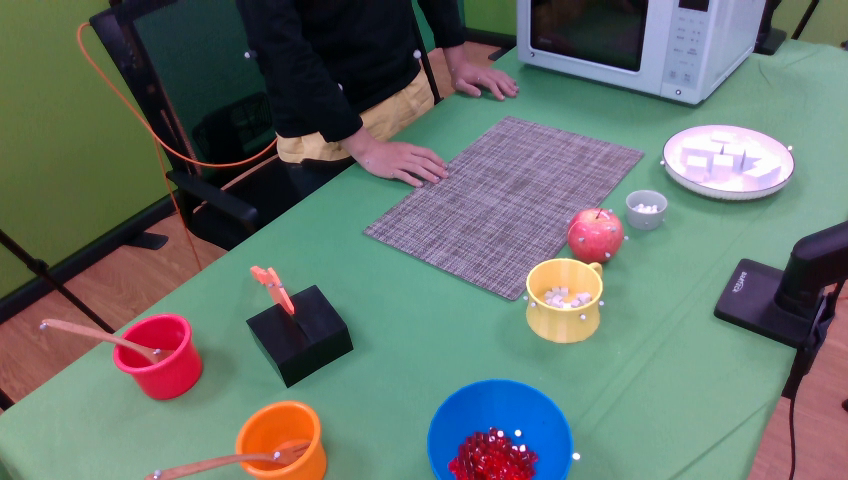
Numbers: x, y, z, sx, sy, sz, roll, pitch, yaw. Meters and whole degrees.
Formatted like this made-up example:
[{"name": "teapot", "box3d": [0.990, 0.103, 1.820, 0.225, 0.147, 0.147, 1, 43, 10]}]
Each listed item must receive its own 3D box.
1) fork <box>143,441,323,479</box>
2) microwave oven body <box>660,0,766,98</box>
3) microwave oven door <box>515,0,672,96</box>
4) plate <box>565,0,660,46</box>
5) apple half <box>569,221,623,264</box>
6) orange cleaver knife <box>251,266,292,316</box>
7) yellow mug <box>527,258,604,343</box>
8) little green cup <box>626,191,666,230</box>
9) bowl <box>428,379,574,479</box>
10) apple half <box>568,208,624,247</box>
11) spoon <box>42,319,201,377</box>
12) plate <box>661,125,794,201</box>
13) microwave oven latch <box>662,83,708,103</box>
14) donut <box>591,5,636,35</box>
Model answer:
[{"name": "fork", "box3d": [-0.189, 0.231, 0.631, 0.028, 0.018, 0.209, 35, 13, 37]}, {"name": "microwave oven body", "box3d": [0.472, -0.513, 1.317, 0.438, 0.261, 0.327, 26, 51, 34]}, {"name": "microwave oven door", "box3d": [0.343, -0.454, 1.259, 0.353, 0.245, 0.039, 26, 51, 33]}, {"name": "plate", "box3d": [0.427, -0.490, 1.376, 0.209, 0.038, 0.208, -5, 41, 5]}, {"name": "apple half", "box3d": [0.251, 0.010, 0.884, 0.081, 0.081, 0.032, 3, 37, 12]}, {"name": "orange cleaver knife", "box3d": [-0.221, 0.071, 0.873, 0.012, 0.077, 0.210, -25, 11, -21]}, {"name": "yellow mug", "box3d": [0.201, 0.073, 0.825, 0.131, 0.064, 0.099, -32, 46, -27]}, {"name": "little green cup", "box3d": [0.352, -0.046, 0.963, 0.061, 0.039, 0.061, -4, 40, 4]}, {"name": "bowl", "box3d": [0.082, 0.233, 0.644, 0.151, 0.077, 0.150, -4, 39, 4]}, {"name": "apple half", "box3d": [0.259, -0.014, 0.914, 0.080, 0.075, 0.053, 0, 36, 15]}, {"name": "spoon", "box3d": [-0.385, 0.135, 0.779, 0.195, 0.021, 0.041, 29, 37, -26]}, {"name": "plate", "box3d": [0.513, -0.128, 1.035, 0.207, 0.039, 0.206, -4, 40, 4]}, {"name": "microwave oven latch", "box3d": [0.517, -0.296, 1.204, 0.078, 0.029, 0.030, 27, 52, 35]}, {"name": "donut", "box3d": [0.427, -0.498, 1.365, 0.099, 0.048, 0.098, -4, 39, 4]}]
